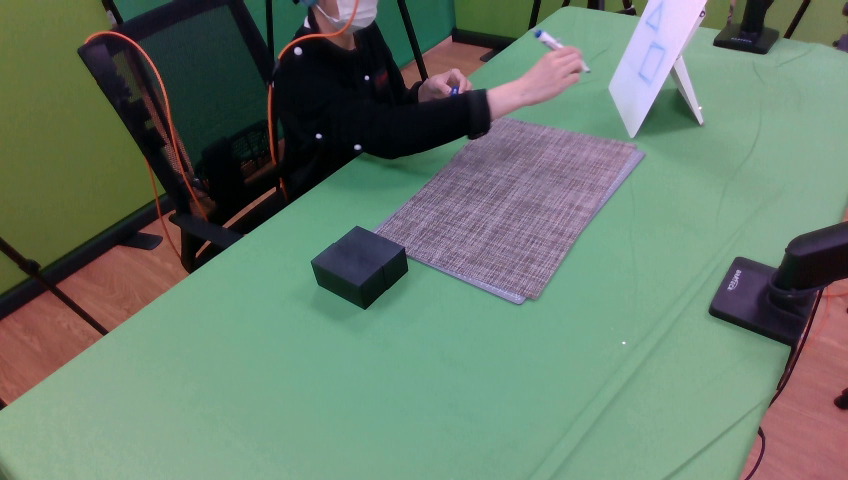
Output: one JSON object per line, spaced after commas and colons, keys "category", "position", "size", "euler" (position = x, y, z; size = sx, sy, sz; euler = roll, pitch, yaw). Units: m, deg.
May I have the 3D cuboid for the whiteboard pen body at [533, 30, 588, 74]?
{"category": "whiteboard pen body", "position": [0.246, -0.331, 1.074], "size": [0.142, 0.017, 0.017], "euler": [24, 28, -31]}

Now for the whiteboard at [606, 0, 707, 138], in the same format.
{"category": "whiteboard", "position": [0.496, -0.359, 1.147], "size": [0.144, 0.305, 0.216], "euler": [12, 40, -7]}

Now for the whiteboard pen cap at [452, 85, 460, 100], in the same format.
{"category": "whiteboard pen cap", "position": [0.066, -0.308, 1.262], "size": [0.018, 0.018, 0.033], "euler": [1, 50, 9]}
